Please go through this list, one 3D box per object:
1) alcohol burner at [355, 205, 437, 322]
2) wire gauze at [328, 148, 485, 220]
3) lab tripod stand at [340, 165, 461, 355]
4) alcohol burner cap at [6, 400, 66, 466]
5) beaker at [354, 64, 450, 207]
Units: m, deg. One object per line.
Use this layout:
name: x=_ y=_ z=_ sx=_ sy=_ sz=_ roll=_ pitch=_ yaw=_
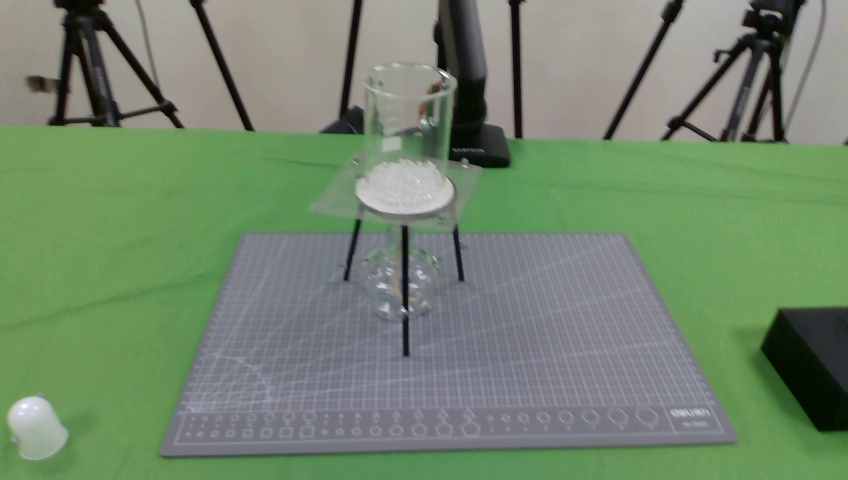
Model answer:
alcohol burner: x=-0.026 y=0.018 z=0.569 sx=0.078 sy=0.120 sz=0.077 roll=3 pitch=34 yaw=-2
wire gauze: x=-0.016 y=-0.053 z=0.512 sx=0.125 sy=0.011 sz=0.120 roll=3 pitch=32 yaw=-8
lab tripod stand: x=-0.019 y=0.010 z=0.564 sx=0.148 sy=0.132 sz=0.147 roll=3 pitch=36 yaw=-2
alcohol burner cap: x=-0.289 y=0.139 z=0.447 sx=0.034 sy=0.048 sz=0.033 roll=3 pitch=35 yaw=-2
beaker: x=-0.016 y=-0.086 z=0.501 sx=0.084 sy=0.101 sz=0.073 roll=-23 pitch=44 yaw=-32
